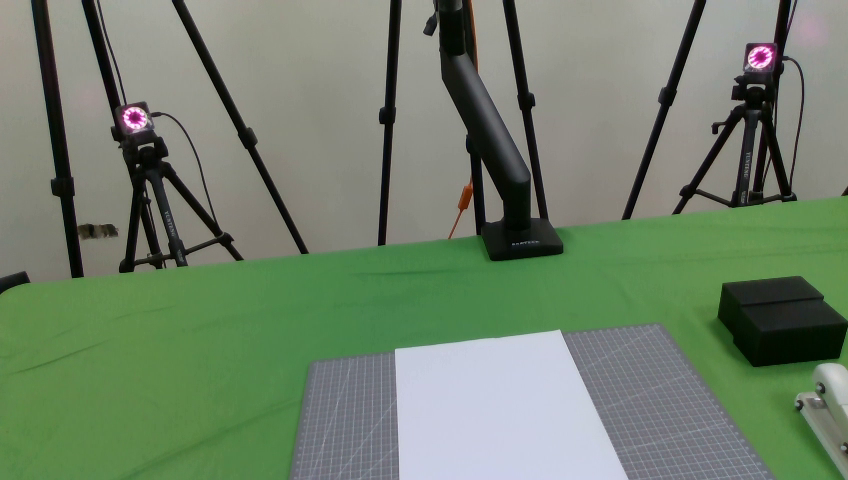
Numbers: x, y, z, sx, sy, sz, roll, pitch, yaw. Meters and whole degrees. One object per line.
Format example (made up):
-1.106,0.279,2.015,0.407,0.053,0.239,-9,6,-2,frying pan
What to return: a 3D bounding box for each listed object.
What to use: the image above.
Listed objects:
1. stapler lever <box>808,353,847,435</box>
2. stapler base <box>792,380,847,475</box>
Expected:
0.399,0.153,0.568,0.027,0.040,0.117,-5,29,7,stapler lever
0.401,0.175,0.582,0.041,0.024,0.129,-4,29,7,stapler base
